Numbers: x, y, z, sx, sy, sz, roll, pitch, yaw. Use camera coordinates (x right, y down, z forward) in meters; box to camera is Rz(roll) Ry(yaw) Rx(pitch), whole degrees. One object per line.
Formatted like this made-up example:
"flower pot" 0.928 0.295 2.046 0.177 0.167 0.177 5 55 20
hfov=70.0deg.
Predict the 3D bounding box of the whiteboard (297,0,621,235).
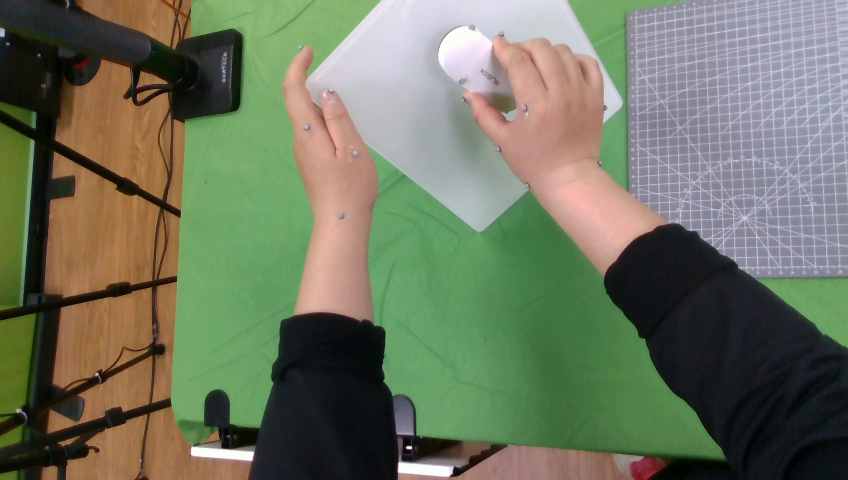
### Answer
"whiteboard" 0.030 -0.178 0.620 0.217 0.309 0.142 -42 50 12

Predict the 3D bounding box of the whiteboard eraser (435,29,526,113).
"whiteboard eraser" 0.049 -0.140 0.507 0.041 0.102 0.018 -50 47 17
